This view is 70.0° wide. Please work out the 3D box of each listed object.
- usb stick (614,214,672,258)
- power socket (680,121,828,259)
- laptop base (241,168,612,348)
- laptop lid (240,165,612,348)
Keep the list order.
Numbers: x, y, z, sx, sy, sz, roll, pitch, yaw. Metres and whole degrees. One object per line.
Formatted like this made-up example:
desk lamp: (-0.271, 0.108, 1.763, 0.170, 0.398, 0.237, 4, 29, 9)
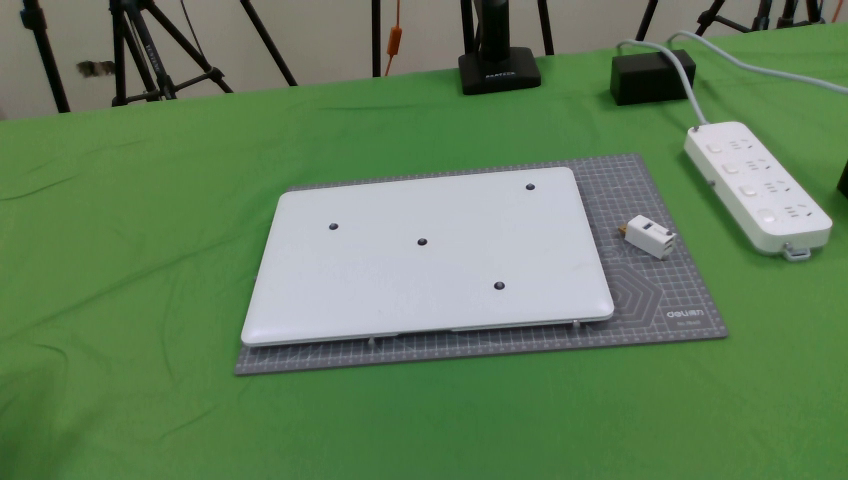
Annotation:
usb stick: (0.224, -0.008, 0.626, 0.021, 0.027, 0.058, -30, 42, -25)
power socket: (0.356, -0.066, 0.670, 0.072, 0.033, 0.224, -7, 41, 0)
laptop base: (-0.002, 0.013, 0.651, 0.354, 0.023, 0.233, -5, 44, 4)
laptop lid: (-0.003, 0.006, 0.641, 0.356, 0.013, 0.239, -4, 43, 5)
